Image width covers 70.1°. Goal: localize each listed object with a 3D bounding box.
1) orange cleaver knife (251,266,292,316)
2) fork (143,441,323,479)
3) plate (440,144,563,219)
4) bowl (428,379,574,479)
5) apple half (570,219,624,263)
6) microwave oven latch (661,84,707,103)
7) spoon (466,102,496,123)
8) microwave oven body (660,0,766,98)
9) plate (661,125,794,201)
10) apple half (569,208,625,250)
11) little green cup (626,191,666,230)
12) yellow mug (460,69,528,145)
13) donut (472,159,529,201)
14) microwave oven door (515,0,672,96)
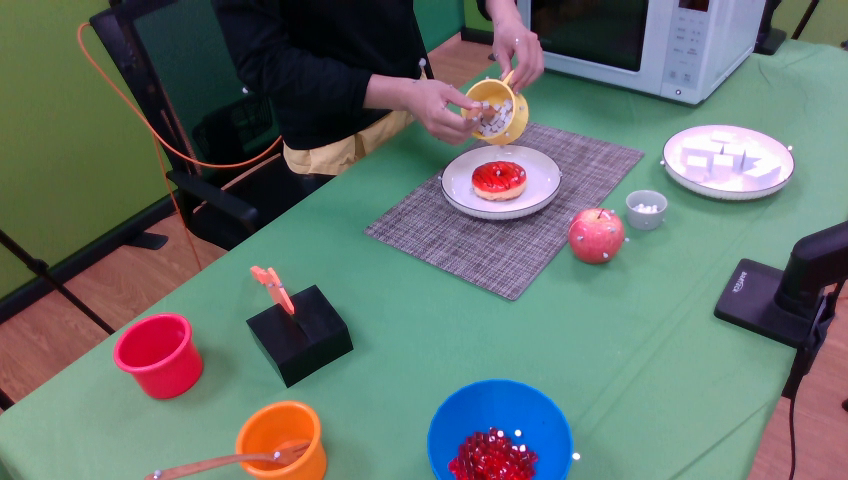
[{"bbox_3d":[-0.221,0.071,0.873,0.012,0.077,0.210,-25,11,-21],"label":"orange cleaver knife"},{"bbox_3d":[-0.189,0.231,0.631,0.028,0.018,0.209,35,13,37],"label":"fork"},{"bbox_3d":[0.134,-0.098,1.051,0.209,0.038,0.208,-4,40,4],"label":"plate"},{"bbox_3d":[0.082,0.233,0.644,0.151,0.077,0.150,-4,40,4],"label":"bowl"},{"bbox_3d":[0.250,0.009,0.885,0.081,0.081,0.033,7,39,17],"label":"apple half"},{"bbox_3d":[0.517,-0.296,1.204,0.078,0.029,0.030,27,52,35],"label":"microwave oven latch"},{"bbox_3d":[0.086,-0.205,0.966,0.041,0.021,0.194,16,18,9],"label":"spoon"},{"bbox_3d":[0.472,-0.513,1.317,0.438,0.261,0.327,26,51,34],"label":"microwave oven body"},{"bbox_3d":[0.513,-0.128,1.035,0.207,0.039,0.206,-4,40,4],"label":"plate"},{"bbox_3d":[0.262,-0.014,0.913,0.080,0.075,0.053,5,37,20],"label":"apple half"},{"bbox_3d":[0.352,-0.046,0.963,0.061,0.039,0.061,-4,40,4],"label":"little green cup"},{"bbox_3d":[0.127,-0.230,1.027,0.099,0.131,0.064,36,15,23],"label":"yellow mug"},{"bbox_3d":[0.132,-0.105,1.043,0.099,0.048,0.098,-5,38,4],"label":"donut"},{"bbox_3d":[0.343,-0.455,1.259,0.353,0.245,0.039,26,51,33],"label":"microwave oven door"}]
